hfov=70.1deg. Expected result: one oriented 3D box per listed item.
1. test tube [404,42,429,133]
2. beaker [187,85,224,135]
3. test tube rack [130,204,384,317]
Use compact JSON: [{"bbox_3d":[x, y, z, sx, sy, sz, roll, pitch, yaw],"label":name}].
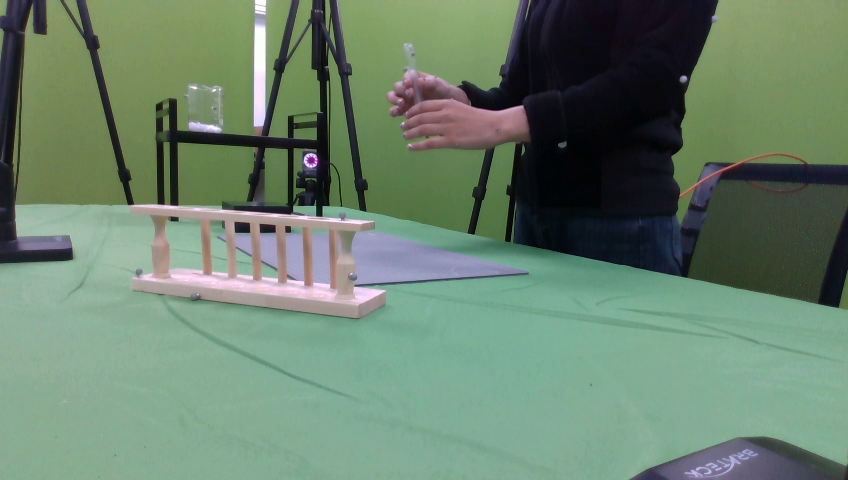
[{"bbox_3d":[-0.012,-0.249,0.987,0.017,0.150,0.017,-10,-1,0],"label":"test tube"},{"bbox_3d":[-0.466,-0.276,1.296,0.074,0.100,0.083,-3,10,-35],"label":"beaker"},{"bbox_3d":[-0.162,0.013,0.589,0.242,0.085,0.067,5,8,17],"label":"test tube rack"}]
